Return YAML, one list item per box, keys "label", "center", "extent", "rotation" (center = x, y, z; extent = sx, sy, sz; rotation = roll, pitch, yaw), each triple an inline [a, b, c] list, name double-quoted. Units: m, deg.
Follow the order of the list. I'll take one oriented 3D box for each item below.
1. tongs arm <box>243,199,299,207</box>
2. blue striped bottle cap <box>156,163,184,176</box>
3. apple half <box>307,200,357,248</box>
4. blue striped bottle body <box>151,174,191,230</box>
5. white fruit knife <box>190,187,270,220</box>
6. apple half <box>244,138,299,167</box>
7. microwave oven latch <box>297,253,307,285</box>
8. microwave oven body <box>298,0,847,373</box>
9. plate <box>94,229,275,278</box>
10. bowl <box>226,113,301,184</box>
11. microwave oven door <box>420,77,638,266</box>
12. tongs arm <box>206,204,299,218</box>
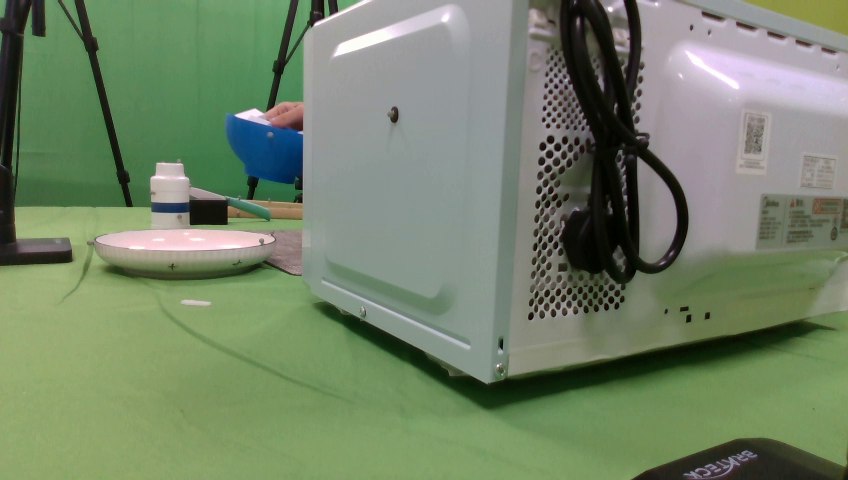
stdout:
- label: "tongs arm"
  center: [-0.309, -0.078, 1.486]
  extent: [0.385, 0.026, 0.051]
  rotation: [3, 7, -1]
- label: "blue striped bottle cap"
  center: [-0.438, -0.122, 1.045]
  extent: [0.044, 0.020, 0.044]
  rotation: [5, 6, 0]
- label: "apple half"
  center: [-0.135, -0.024, 0.941]
  extent: [0.053, 0.074, 0.081]
  rotation: [13, 9, 38]
- label: "blue striped bottle body"
  center: [-0.439, -0.071, 1.052]
  extent: [0.063, 0.120, 0.063]
  rotation: [2, 8, 0]
- label: "white fruit knife"
  center: [-0.413, -0.081, 1.270]
  extent: [0.208, 0.027, 0.016]
  rotation: [17, 13, -41]
- label: "apple half"
  center: [-0.218, -0.132, 0.885]
  extent: [0.081, 0.033, 0.081]
  rotation: [17, 10, -3]
- label: "microwave oven latch"
  center: [-0.082, 0.027, 0.582]
  extent: [0.079, 0.029, 0.030]
  rotation: [-1, 7, -32]
- label: "microwave oven body"
  center: [0.151, -0.055, 0.543]
  extent: [0.444, 0.260, 0.324]
  rotation: [-1, 7, -33]
- label: "plate"
  center: [-0.291, 0.016, 0.749]
  extent: [0.208, 0.039, 0.207]
  rotation: [2, 7, 0]
- label: "bowl"
  center: [-0.218, -0.128, 0.883]
  extent: [0.151, 0.077, 0.151]
  rotation: [14, 9, -2]
- label: "microwave oven door"
  center: [0.134, -0.105, 0.895]
  extent: [0.354, 0.243, 0.039]
  rotation: [9, 10, 44]
- label: "tongs arm"
  center: [-0.302, -0.065, 1.407]
  extent: [0.389, 0.028, 0.028]
  rotation: [1, 4, -14]
